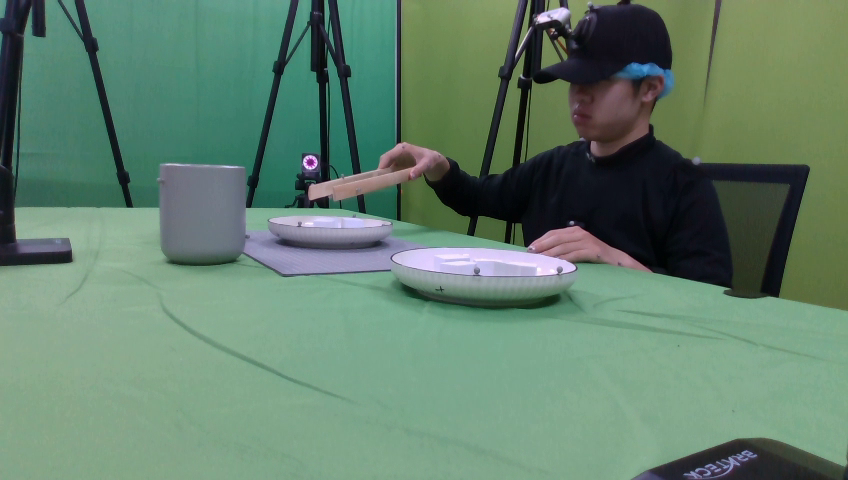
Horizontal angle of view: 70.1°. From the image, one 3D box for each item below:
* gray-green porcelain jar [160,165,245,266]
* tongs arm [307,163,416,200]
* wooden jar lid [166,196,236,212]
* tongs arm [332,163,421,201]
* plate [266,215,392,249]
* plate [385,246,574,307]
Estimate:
[{"bbox_3d":[-0.291,-0.034,0.799,0.106,0.126,0.106,2,8,0],"label":"gray-green porcelain jar"},{"bbox_3d":[-0.107,-0.119,1.182,0.050,0.026,0.386,2,13,20],"label":"tongs arm"},{"bbox_3d":[-0.369,-0.060,1.001,0.108,0.020,0.108,3,6,0],"label":"wooden jar lid"},{"bbox_3d":[-0.079,-0.117,1.170,0.028,0.028,0.389,-2,12,23],"label":"tongs arm"},{"bbox_3d":[-0.159,-0.015,1.019,0.209,0.038,0.209,3,7,0],"label":"plate"},{"bbox_3d":[0.060,0.041,0.678,0.208,0.039,0.207,3,7,0],"label":"plate"}]
